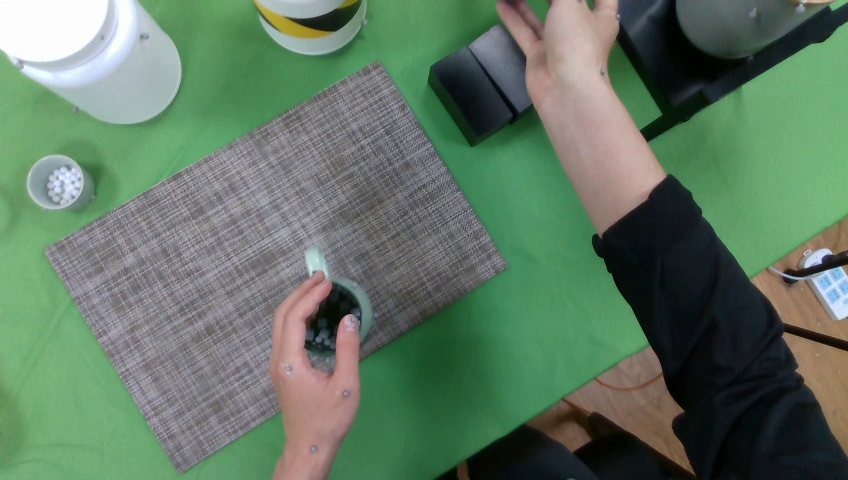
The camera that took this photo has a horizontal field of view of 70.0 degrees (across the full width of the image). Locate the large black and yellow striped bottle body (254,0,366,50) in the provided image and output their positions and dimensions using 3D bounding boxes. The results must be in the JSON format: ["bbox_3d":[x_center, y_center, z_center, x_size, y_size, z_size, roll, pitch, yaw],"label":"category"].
[{"bbox_3d":[-0.131,-0.301,0.655,0.131,0.184,0.130,0,85,-4],"label":"large black and yellow striped bottle body"}]

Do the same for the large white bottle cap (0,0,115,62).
[{"bbox_3d":[-0.341,-0.219,0.547,0.115,0.018,0.114,0,87,-4],"label":"large white bottle cap"}]

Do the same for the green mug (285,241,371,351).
[{"bbox_3d":[-0.110,0.062,0.667,0.092,0.105,0.125,-15,86,-5],"label":"green mug"}]

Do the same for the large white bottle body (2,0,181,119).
[{"bbox_3d":[-0.347,-0.213,0.631,0.131,0.184,0.130,0,85,-4],"label":"large white bottle body"}]

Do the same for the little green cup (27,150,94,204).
[{"bbox_3d":[-0.410,-0.069,0.689,0.061,0.038,0.061,0,87,-5],"label":"little green cup"}]

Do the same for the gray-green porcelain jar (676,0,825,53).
[{"bbox_3d":[0.293,-0.232,0.532,0.106,0.126,0.105,0,85,-4],"label":"gray-green porcelain jar"}]
